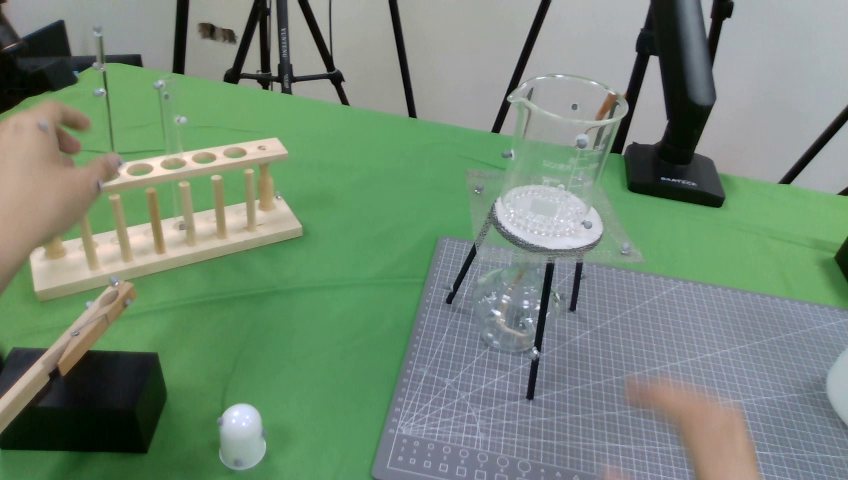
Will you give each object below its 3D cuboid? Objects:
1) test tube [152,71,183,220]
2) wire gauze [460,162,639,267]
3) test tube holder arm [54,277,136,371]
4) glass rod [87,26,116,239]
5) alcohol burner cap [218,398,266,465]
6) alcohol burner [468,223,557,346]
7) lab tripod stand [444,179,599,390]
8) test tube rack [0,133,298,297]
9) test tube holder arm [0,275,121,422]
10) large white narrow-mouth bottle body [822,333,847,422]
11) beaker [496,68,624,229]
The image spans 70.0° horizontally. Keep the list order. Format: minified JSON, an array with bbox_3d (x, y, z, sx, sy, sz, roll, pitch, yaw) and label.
[{"bbox_3d":[-0.238,-0.084,0.572,0.017,0.151,0.017,5,33,-3],"label":"test tube"},{"bbox_3d":[0.092,-0.024,0.476,0.121,0.011,0.124,1,42,-5],"label":"wire gauze"},{"bbox_3d":[-0.242,0.059,0.444,0.010,0.015,0.087,13,37,7],"label":"test tube holder arm"},{"bbox_3d":[-0.286,-0.087,0.540,0.008,0.201,0.008,8,29,-4],"label":"glass rod"},{"bbox_3d":[-0.129,0.132,0.427,0.034,0.048,0.033,6,38,-4],"label":"alcohol burner cap"},{"bbox_3d":[0.080,0.034,0.523,0.078,0.120,0.077,6,37,-4],"label":"alcohol burner"},{"bbox_3d":[0.089,0.029,0.514,0.148,0.132,0.147,6,39,-4],"label":"lab tripod stand"},{"bbox_3d":[-0.250,-0.031,0.581,0.243,0.086,0.066,-16,44,-27],"label":"test tube rack"},{"bbox_3d":[-0.258,0.083,0.409,0.013,0.015,0.177,12,37,7],"label":"test tube holder arm"},{"bbox_3d":[0.400,0.068,0.463,0.102,0.196,0.101,4,38,-3],"label":"large white narrow-mouth bottle body"},{"bbox_3d":[0.093,-0.065,0.449,0.084,0.101,0.073,6,39,-1],"label":"beaker"}]
